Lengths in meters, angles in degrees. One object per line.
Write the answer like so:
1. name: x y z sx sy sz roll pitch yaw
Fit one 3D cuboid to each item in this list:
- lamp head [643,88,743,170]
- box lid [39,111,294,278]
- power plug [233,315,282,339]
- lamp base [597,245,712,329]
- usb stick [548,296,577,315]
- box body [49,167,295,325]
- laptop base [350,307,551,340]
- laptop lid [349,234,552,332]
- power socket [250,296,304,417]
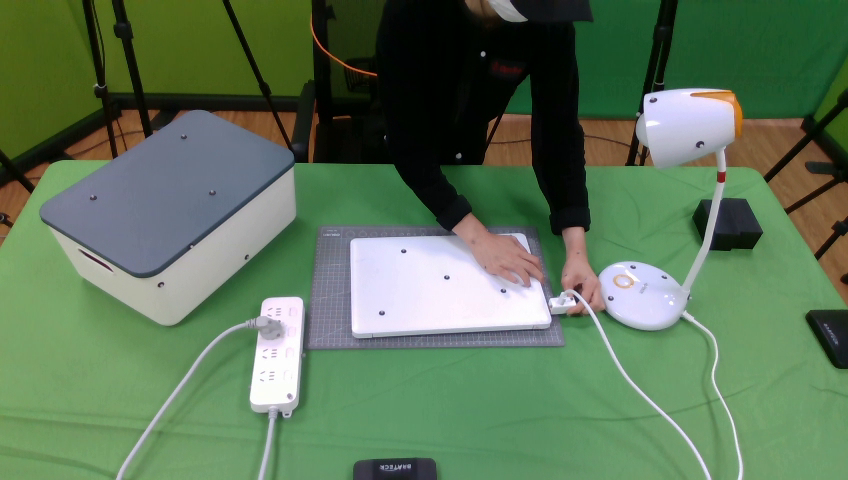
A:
1. lamp head: 0.379 -0.160 0.851 0.122 0.113 0.112 -4 42 25
2. box lid: -0.435 -0.097 1.055 0.262 0.015 0.370 25 49 18
3. power plug: -0.271 0.144 1.000 0.072 0.053 0.035 6 46 4
4. lamp base: 0.418 0.051 1.071 0.179 0.181 0.160 22 49 13
5. usb stick: 0.242 0.118 1.088 0.059 0.027 0.021 -7 48 -4
6. box body: -0.437 -0.046 1.110 0.253 0.161 0.363 24 49 19
7. laptop base: 0.040 0.080 1.126 0.355 0.023 0.234 -2 43 -6
8. laptop lid: 0.040 0.071 1.120 0.357 0.013 0.240 0 44 -6
9. power socket: -0.239 0.182 0.996 0.072 0.033 0.225 -2 47 -5
